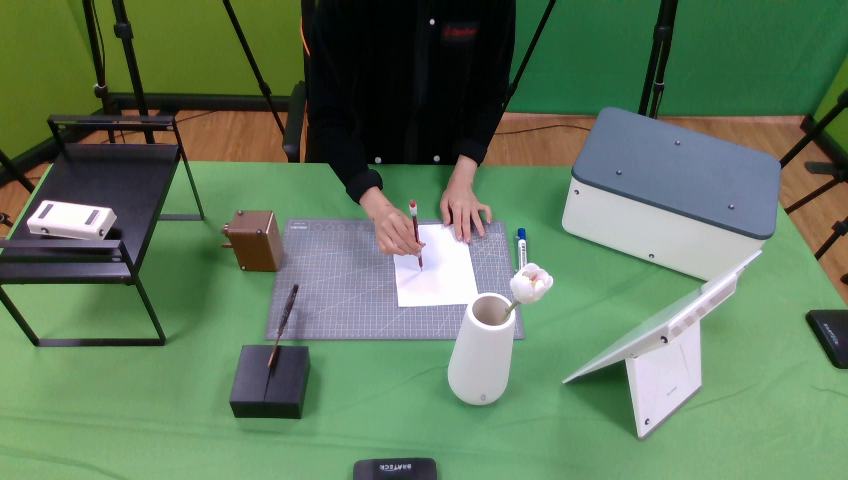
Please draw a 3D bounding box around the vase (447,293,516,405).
[{"bbox_3d":[0.091,0.169,0.921,0.098,0.201,0.097,3,47,-3],"label":"vase"}]

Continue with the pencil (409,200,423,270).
[{"bbox_3d":[-0.012,-0.003,1.075,0.012,0.195,0.012,-3,51,4],"label":"pencil"}]

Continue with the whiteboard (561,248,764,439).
[{"bbox_3d":[0.386,0.176,0.905,0.217,0.306,0.143,-26,72,-27],"label":"whiteboard"}]

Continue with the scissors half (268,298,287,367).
[{"bbox_3d":[-0.239,0.150,0.997,0.013,0.040,0.174,24,24,-14],"label":"scissors half"}]

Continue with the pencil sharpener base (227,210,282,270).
[{"bbox_3d":[-0.311,0.001,1.112,0.077,0.107,0.061,0,47,1],"label":"pencil sharpener base"}]

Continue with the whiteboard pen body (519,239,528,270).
[{"bbox_3d":[0.193,0.035,1.181,0.017,0.017,0.140,6,48,1],"label":"whiteboard pen body"}]

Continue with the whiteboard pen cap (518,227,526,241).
[{"bbox_3d":[0.197,-0.009,1.220,0.018,0.018,0.033,5,50,1],"label":"whiteboard pen cap"}]

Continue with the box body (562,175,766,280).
[{"bbox_3d":[0.486,-0.088,1.222,0.363,0.161,0.253,20,48,15],"label":"box body"}]

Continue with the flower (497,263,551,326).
[{"bbox_3d":[0.102,0.121,0.853,0.044,0.363,0.038,-2,64,-10],"label":"flower"}]

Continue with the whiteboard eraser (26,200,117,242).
[{"bbox_3d":[-0.532,-0.026,0.919,0.113,0.042,0.055,7,45,3],"label":"whiteboard eraser"}]

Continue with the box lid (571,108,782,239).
[{"bbox_3d":[0.491,-0.139,1.168,0.370,0.015,0.262,21,49,15],"label":"box lid"}]

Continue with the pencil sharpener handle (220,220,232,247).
[{"bbox_3d":[-0.362,-0.009,1.105,0.030,0.068,0.036,0,52,1],"label":"pencil sharpener handle"}]

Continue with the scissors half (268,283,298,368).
[{"bbox_3d":[-0.230,0.135,0.986,0.013,0.040,0.174,19,43,-11],"label":"scissors half"}]
